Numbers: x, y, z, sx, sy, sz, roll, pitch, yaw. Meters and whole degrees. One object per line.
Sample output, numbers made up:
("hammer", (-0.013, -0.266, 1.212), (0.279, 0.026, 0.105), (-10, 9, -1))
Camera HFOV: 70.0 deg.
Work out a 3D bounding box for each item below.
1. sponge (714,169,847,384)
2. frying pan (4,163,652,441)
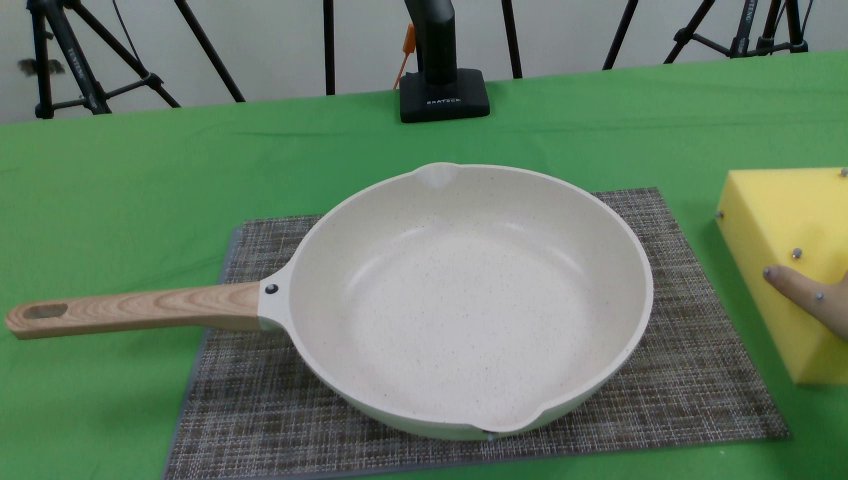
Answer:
("sponge", (0.344, 0.022, 0.514), (0.118, 0.061, 0.205), (-2, 40, 4))
("frying pan", (-0.070, 0.046, 0.491), (0.489, 0.103, 0.303), (-2, 39, -8))
